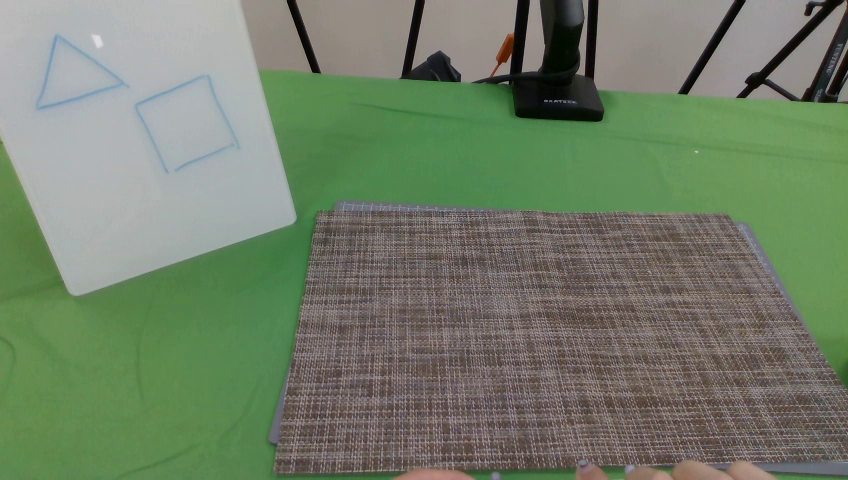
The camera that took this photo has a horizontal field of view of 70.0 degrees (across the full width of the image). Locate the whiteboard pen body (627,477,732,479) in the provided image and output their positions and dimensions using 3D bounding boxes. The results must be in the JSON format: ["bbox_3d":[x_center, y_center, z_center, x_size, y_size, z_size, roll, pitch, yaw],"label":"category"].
[{"bbox_3d":[0.094,0.136,0.318,0.141,0.017,0.017,-3,39,1],"label":"whiteboard pen body"}]

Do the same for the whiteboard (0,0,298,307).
[{"bbox_3d":[-0.278,-0.132,0.578,0.217,0.307,0.142,-21,26,-25],"label":"whiteboard"}]
